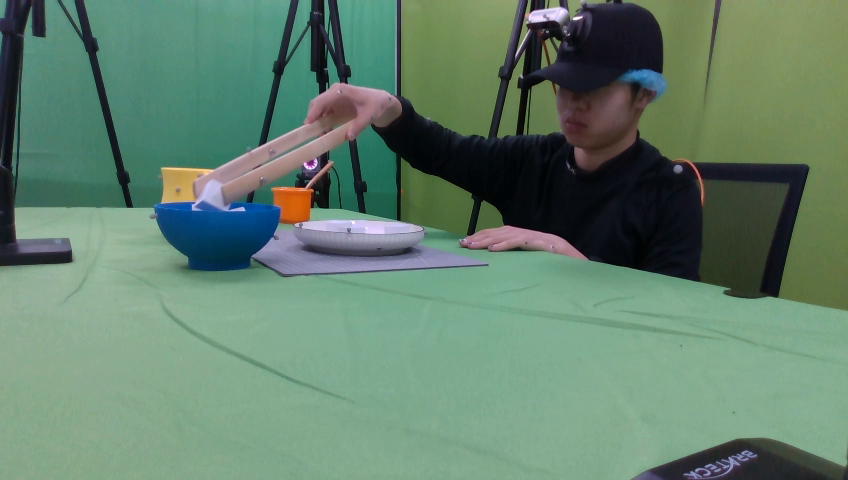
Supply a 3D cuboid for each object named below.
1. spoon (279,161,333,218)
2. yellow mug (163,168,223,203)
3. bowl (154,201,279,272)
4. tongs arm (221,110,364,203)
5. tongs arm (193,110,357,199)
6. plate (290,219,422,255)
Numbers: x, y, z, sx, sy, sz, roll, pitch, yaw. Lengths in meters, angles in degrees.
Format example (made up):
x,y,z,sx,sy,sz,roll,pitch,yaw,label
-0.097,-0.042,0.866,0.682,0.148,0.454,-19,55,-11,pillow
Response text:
x,y,z,sx,sy,sz,roll,pitch,yaw,label
-0.262,-0.115,1.359,0.041,0.194,0.022,12,-33,38,spoon
-0.383,-0.087,1.026,0.130,0.064,0.100,11,11,44,yellow mug
-0.261,-0.005,0.770,0.151,0.077,0.151,3,8,0,bowl
-0.172,-0.133,0.884,0.028,0.028,0.388,5,26,21,tongs arm
-0.198,-0.137,0.893,0.050,0.026,0.385,7,26,16,tongs arm
-0.108,-0.005,0.963,0.208,0.039,0.207,3,7,0,plate
